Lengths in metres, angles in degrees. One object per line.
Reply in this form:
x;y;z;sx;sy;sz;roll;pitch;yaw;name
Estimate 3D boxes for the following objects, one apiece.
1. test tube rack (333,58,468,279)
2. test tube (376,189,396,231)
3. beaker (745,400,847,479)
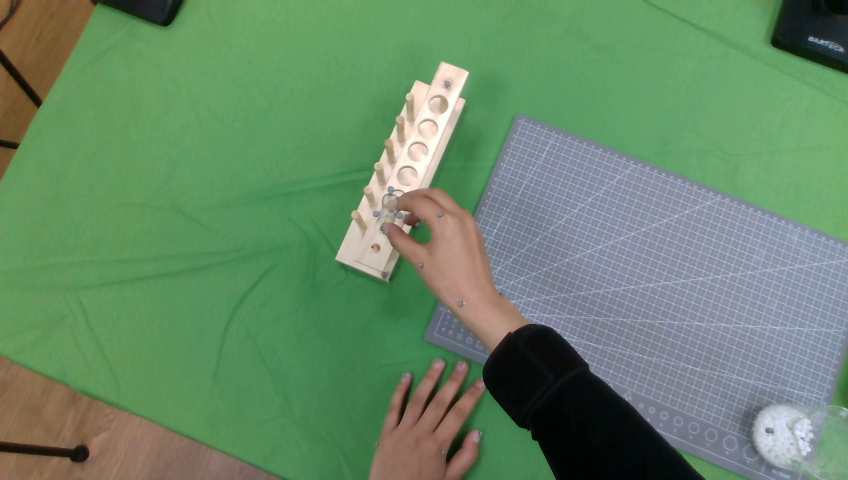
-0.029;-0.084;0.687;0.066;0.085;0.241;23;80;4;test tube rack
-0.040;-0.021;0.615;0.017;0.150;0.017;1;76;-6;test tube
0.387;0.203;0.628;0.084;0.100;0.074;25;80;5;beaker
